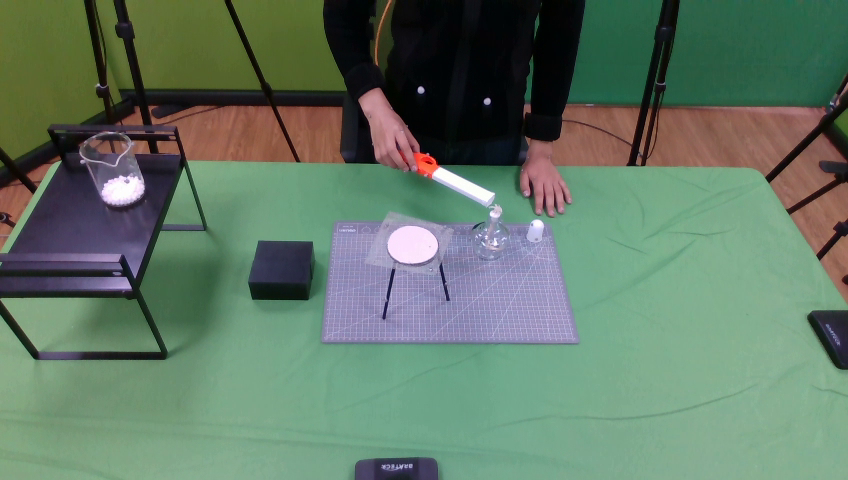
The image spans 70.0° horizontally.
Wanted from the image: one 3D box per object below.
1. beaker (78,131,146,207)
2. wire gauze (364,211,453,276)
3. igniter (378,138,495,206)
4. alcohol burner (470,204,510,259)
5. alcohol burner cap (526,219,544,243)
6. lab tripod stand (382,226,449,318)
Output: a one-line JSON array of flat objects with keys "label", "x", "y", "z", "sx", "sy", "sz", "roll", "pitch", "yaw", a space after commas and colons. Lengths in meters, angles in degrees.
[{"label": "beaker", "x": -0.488, "y": -0.108, "z": 0.961, "sx": 0.074, "sy": 0.101, "sz": 0.083, "roll": -25, "pitch": 54, "yaw": -25}, {"label": "wire gauze", "x": -0.024, "y": 0.006, "z": 1.016, "sx": 0.121, "sy": 0.011, "sz": 0.124, "roll": 14, "pitch": 48, "yaw": 9}, {"label": "igniter", "x": 0.016, "y": -0.138, "z": 1.185, "sx": 0.275, "sy": 0.025, "sz": 0.057, "roll": 30, "pitch": 53, "yaw": 24}, {"label": "alcohol burner", "x": 0.129, "y": -0.021, "z": 1.161, "sx": 0.078, "sy": 0.119, "sz": 0.077, "roll": 2, "pitch": 44, "yaw": -2}, {"label": "alcohol burner cap", "x": 0.225, "y": -0.021, "z": 1.218, "sx": 0.034, "sy": 0.048, "sz": 0.033, "roll": 1, "pitch": 46, "yaw": -1}, {"label": "lab tripod stand", "x": -0.024, "y": 0.055, "z": 1.063, "sx": 0.148, "sy": 0.132, "sz": 0.147, "roll": 2, "pitch": 48, "yaw": -2}]
